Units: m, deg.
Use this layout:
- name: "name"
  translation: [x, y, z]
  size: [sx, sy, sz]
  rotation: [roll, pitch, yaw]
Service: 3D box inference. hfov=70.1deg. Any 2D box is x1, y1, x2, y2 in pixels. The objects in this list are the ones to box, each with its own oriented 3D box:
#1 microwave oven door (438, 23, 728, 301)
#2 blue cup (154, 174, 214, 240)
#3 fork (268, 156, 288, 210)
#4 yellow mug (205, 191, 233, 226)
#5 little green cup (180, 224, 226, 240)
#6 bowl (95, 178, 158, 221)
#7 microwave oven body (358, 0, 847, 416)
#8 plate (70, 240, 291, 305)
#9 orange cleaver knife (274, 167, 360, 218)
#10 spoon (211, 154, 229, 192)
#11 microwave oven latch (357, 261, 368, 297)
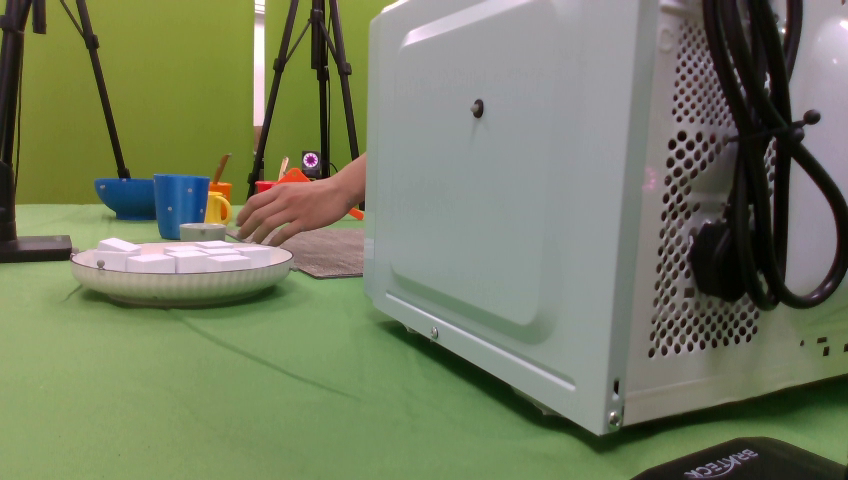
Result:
- name: "microwave oven door"
  translation: [0.181, -0.072, 0.620]
  size: [0.358, 0.243, 0.039]
  rotation: [-2, 8, -29]
- name: "blue cup"
  translation: [-0.391, -0.053, 0.978]
  size: [0.093, 0.100, 0.092]
  rotation: [3, 6, 0]
- name: "fork"
  translation: [-0.360, -0.144, 1.508]
  size: [0.028, 0.018, 0.207]
  rotation: [1, 49, 0]
- name: "yellow mug"
  translation: [-0.415, -0.057, 1.131]
  size: [0.130, 0.064, 0.100]
  rotation: [6, 8, 16]
- name: "little green cup"
  translation: [-0.309, -0.001, 0.846]
  size: [0.061, 0.038, 0.061]
  rotation: [2, 8, 0]
- name: "bowl"
  translation: [-0.576, -0.081, 1.217]
  size: [0.151, 0.077, 0.151]
  rotation: [3, 8, 0]
- name: "microwave oven body"
  translation: [0.211, -0.047, 0.474]
  size: [0.444, 0.260, 0.324]
  rotation: [-1, 7, -28]
- name: "plate"
  translation: [-0.242, 0.031, 0.618]
  size: [0.208, 0.039, 0.207]
  rotation: [2, 8, 0]
- name: "orange cleaver knife"
  translation: [-0.238, -0.090, 1.381]
  size: [0.212, 0.077, 0.012]
  rotation: [31, 0, -19]
- name: "spoon"
  translation: [-0.431, -0.115, 1.253]
  size: [0.042, 0.193, 0.021]
  rotation: [-3, 54, -33]
- name: "microwave oven latch"
  translation: [-0.019, 0.033, 0.531]
  size: [0.079, 0.029, 0.030]
  rotation: [-1, 7, -27]
